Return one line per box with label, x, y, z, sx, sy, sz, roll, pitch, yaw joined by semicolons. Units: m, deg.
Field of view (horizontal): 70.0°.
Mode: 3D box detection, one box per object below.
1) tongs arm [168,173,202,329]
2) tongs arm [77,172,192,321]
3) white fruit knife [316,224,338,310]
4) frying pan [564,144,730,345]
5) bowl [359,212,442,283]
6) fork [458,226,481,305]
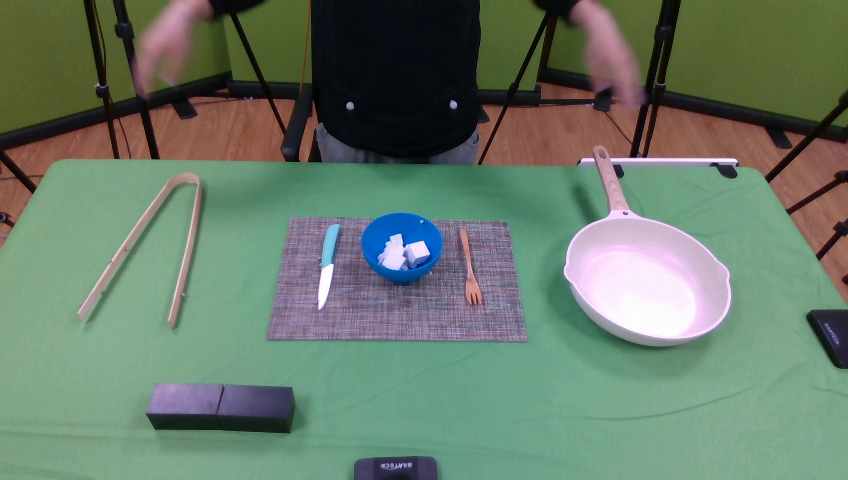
tongs arm;-0.454;0.005;1.153;0.028;0.028;0.385;-5;47;-6
tongs arm;-0.535;-0.002;1.147;0.051;0.026;0.382;7;45;1
white fruit knife;-0.185;0.047;1.137;0.027;0.016;0.206;-5;47;7
frying pan;0.396;-0.008;1.179;0.307;0.103;0.484;0;55;-5
bowl;-0.044;0.026;1.124;0.151;0.077;0.150;2;46;-2
fork;0.083;0.044;1.158;0.028;0.019;0.206;-7;48;1
